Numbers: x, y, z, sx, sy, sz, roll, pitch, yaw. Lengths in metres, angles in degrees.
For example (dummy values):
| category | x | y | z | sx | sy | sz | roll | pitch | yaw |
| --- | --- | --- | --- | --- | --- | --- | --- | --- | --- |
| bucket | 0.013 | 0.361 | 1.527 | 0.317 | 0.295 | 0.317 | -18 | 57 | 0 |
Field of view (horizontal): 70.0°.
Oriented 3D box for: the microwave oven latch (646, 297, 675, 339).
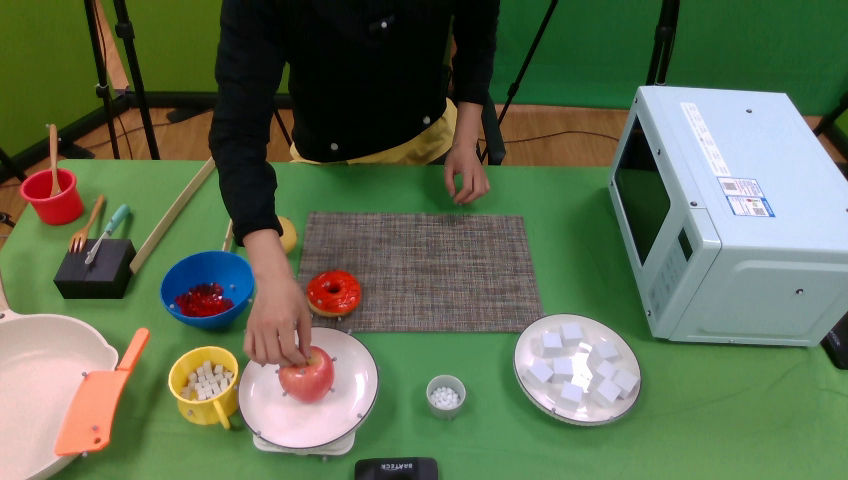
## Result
| category | x | y | z | sx | sy | sz | roll | pitch | yaw |
| --- | --- | --- | --- | --- | --- | --- | --- | --- | --- |
| microwave oven latch | 0.412 | 0.134 | 1.061 | 0.030 | 0.029 | 0.078 | 4 | 45 | 1 |

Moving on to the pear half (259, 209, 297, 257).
| category | x | y | z | sx | sy | sz | roll | pitch | yaw |
| --- | --- | --- | --- | --- | --- | --- | --- | --- | --- |
| pear half | -0.273 | -0.024 | 1.141 | 0.076 | 0.110 | 0.056 | 27 | 50 | 16 |

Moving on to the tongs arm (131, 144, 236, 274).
| category | x | y | z | sx | sy | sz | roll | pitch | yaw |
| --- | --- | --- | --- | --- | --- | --- | --- | --- | --- |
| tongs arm | -0.483 | -0.077 | 1.235 | 0.028 | 0.028 | 0.385 | 6 | 45 | 13 |

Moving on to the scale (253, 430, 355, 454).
| category | x | y | z | sx | sy | sz | roll | pitch | yaw |
| --- | --- | --- | --- | --- | --- | --- | --- | --- | --- |
| scale | -0.175 | 0.236 | 0.951 | 0.149 | 0.032 | 0.199 | 4 | 45 | 0 |

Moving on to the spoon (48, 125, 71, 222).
| category | x | y | z | sx | sy | sz | roll | pitch | yaw |
| --- | --- | --- | --- | --- | --- | --- | --- | --- | --- |
| spoon | -0.718 | -0.131 | 1.188 | 0.041 | 0.021 | 0.193 | -4 | 90 | -7 |

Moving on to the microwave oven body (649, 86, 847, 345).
| category | x | y | z | sx | sy | sz | roll | pitch | yaw |
| --- | --- | --- | --- | --- | --- | --- | --- | --- | --- |
| microwave oven body | 0.567 | -0.053 | 1.118 | 0.326 | 0.261 | 0.439 | 2 | 45 | -1 |

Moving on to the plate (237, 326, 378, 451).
| category | x | y | z | sx | sy | sz | roll | pitch | yaw |
| --- | --- | --- | --- | --- | --- | --- | --- | --- | --- |
| plate | -0.173 | 0.224 | 0.917 | 0.209 | 0.038 | 0.208 | 2 | 46 | -2 |

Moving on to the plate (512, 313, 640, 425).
| category | x | y | z | sx | sy | sz | roll | pitch | yaw |
| --- | --- | --- | --- | --- | --- | --- | --- | --- | --- |
| plate | 0.246 | 0.213 | 0.999 | 0.208 | 0.039 | 0.206 | 2 | 46 | -2 |

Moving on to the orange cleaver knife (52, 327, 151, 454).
| category | x | y | z | sx | sy | sz | roll | pitch | yaw |
| --- | --- | --- | --- | --- | --- | --- | --- | --- | --- |
| orange cleaver knife | -0.462 | 0.212 | 0.879 | 0.077 | 0.012 | 0.210 | 6 | 45 | -2 |

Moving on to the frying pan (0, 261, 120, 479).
| category | x | y | z | sx | sy | sz | roll | pitch | yaw |
| --- | --- | --- | --- | --- | --- | --- | --- | --- | --- |
| frying pan | -0.647 | 0.164 | 0.936 | 0.307 | 0.103 | 0.485 | -19 | 58 | -22 |

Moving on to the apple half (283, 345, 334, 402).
| category | x | y | z | sx | sy | sz | roll | pitch | yaw |
| --- | --- | --- | --- | --- | --- | --- | --- | --- | --- |
| apple half | -0.162 | 0.205 | 0.897 | 0.053 | 0.075 | 0.080 | 25 | 43 | 21 |

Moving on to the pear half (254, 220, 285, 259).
| category | x | y | z | sx | sy | sz | roll | pitch | yaw |
| --- | --- | --- | --- | --- | --- | --- | --- | --- | --- |
| pear half | -0.293 | 0.003 | 1.127 | 0.070 | 0.088 | 0.031 | 26 | 49 | 16 |

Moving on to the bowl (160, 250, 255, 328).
| category | x | y | z | sx | sy | sz | roll | pitch | yaw |
| --- | --- | --- | --- | --- | --- | --- | --- | --- | --- |
| bowl | -0.362 | 0.098 | 1.040 | 0.151 | 0.077 | 0.150 | 2 | 45 | -2 |

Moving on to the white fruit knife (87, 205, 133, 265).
| category | x | y | z | sx | sy | sz | roll | pitch | yaw |
| --- | --- | --- | --- | --- | --- | --- | --- | --- | --- |
| white fruit knife | -0.584 | -0.013 | 1.129 | 0.016 | 0.027 | 0.206 | -1 | 31 | -5 |

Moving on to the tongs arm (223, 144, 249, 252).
| category | x | y | z | sx | sy | sz | roll | pitch | yaw |
| --- | --- | --- | --- | --- | --- | --- | --- | --- | --- |
| tongs arm | -0.397 | -0.073 | 1.232 | 0.051 | 0.027 | 0.382 | -2 | 45 | 0 |

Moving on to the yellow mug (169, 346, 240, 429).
| category | x | y | z | sx | sy | sz | roll | pitch | yaw |
| --- | --- | --- | --- | --- | --- | --- | --- | --- | --- |
| yellow mug | -0.322 | 0.231 | 0.922 | 0.100 | 0.064 | 0.130 | -24 | 53 | -25 |

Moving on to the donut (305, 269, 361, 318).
| category | x | y | z | sx | sy | sz | roll | pitch | yaw |
| --- | --- | --- | --- | --- | --- | --- | --- | --- | --- |
| donut | -0.160 | 0.095 | 1.075 | 0.099 | 0.048 | 0.098 | 4 | 45 | -4 |

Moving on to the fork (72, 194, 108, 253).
| category | x | y | z | sx | sy | sz | roll | pitch | yaw |
| --- | --- | --- | --- | --- | --- | --- | --- | --- | --- |
| fork | -0.634 | -0.036 | 1.158 | 0.028 | 0.019 | 0.206 | -8 | 32 | -8 |

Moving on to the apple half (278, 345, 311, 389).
| category | x | y | z | sx | sy | sz | roll | pitch | yaw |
| --- | --- | --- | --- | --- | --- | --- | --- | --- | --- |
| apple half | -0.196 | 0.192 | 0.911 | 0.032 | 0.081 | 0.081 | 24 | 49 | 20 |

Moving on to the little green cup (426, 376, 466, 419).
| category | x | y | z | sx | sy | sz | roll | pitch | yaw |
| --- | --- | --- | --- | --- | --- | --- | --- | --- | --- |
| little green cup | 0.033 | 0.248 | 0.950 | 0.061 | 0.039 | 0.061 | 2 | 46 | -2 |

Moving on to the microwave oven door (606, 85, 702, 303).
| category | x | y | z | sx | sy | sz | roll | pitch | yaw |
| --- | --- | --- | --- | --- | --- | --- | --- | --- | --- |
| microwave oven door | 0.422 | -0.094 | 1.140 | 0.039 | 0.245 | 0.353 | 2 | 46 | -1 |
